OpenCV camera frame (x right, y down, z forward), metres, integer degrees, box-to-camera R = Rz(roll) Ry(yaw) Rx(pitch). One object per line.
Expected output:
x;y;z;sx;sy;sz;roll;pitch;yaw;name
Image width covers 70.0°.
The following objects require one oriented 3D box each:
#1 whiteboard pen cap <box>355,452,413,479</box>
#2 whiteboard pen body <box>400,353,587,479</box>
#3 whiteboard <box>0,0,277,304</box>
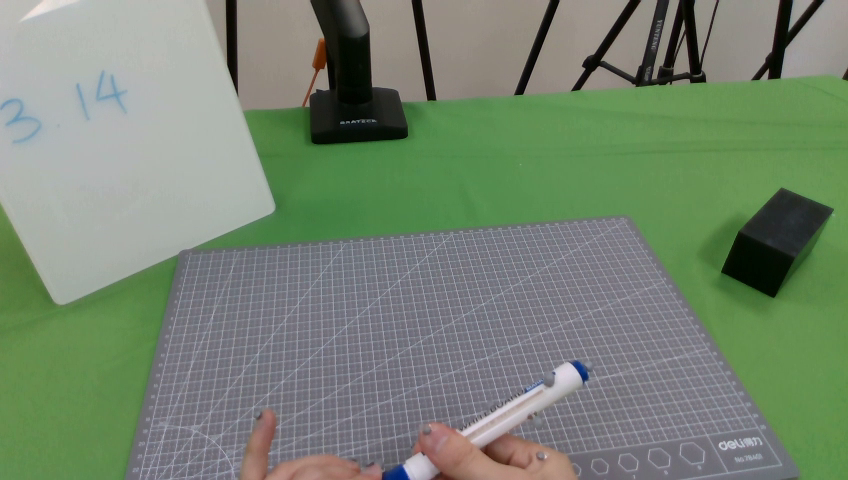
-0.021;0.128;0.323;0.033;0.018;0.018;-34;46;-1;whiteboard pen cap
0.031;0.102;0.336;0.141;0.017;0.017;-28;47;-13;whiteboard pen body
-0.307;-0.139;0.562;0.217;0.308;0.142;-29;30;-30;whiteboard
